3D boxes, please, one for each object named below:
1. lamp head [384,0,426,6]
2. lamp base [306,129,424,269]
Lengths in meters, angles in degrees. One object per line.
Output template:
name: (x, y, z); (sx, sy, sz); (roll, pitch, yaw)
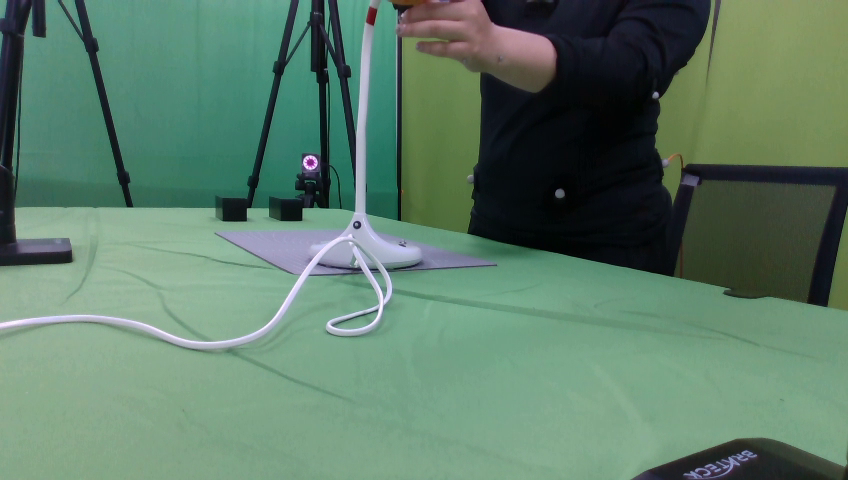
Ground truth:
lamp head: (-0.024, -0.326, 0.672); (0.112, 0.123, 0.112); (4, 3, 0)
lamp base: (-0.077, -0.057, 0.810); (0.161, 0.180, 0.179); (2, 10, -4)
